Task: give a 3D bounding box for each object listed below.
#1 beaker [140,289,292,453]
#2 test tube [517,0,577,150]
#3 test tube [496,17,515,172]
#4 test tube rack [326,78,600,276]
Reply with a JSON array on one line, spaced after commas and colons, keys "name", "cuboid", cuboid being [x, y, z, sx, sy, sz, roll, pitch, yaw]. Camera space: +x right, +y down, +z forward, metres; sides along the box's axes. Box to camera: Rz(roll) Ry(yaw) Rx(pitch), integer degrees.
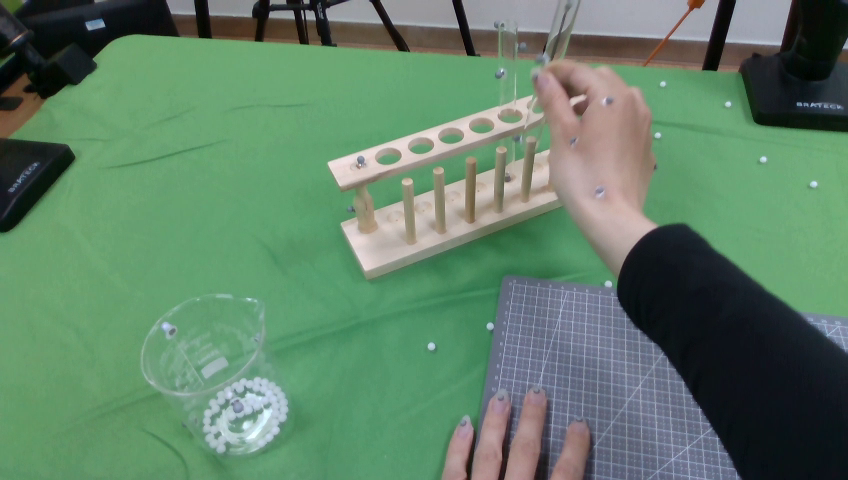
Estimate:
[{"name": "beaker", "cuboid": [-0.131, 0.091, 0.410, 0.073, 0.101, 0.084, 29, 56, 26]}, {"name": "test tube", "cuboid": [0.095, -0.132, 0.468, 0.017, 0.151, 0.017, 4, 47, -4]}, {"name": "test tube", "cuboid": [0.071, -0.120, 0.528, 0.017, 0.152, 0.017, -3, 45, 4]}, {"name": "test tube rack", "cuboid": [0.043, -0.059, 0.542, 0.243, 0.086, 0.066, -21, 50, -14]}]
